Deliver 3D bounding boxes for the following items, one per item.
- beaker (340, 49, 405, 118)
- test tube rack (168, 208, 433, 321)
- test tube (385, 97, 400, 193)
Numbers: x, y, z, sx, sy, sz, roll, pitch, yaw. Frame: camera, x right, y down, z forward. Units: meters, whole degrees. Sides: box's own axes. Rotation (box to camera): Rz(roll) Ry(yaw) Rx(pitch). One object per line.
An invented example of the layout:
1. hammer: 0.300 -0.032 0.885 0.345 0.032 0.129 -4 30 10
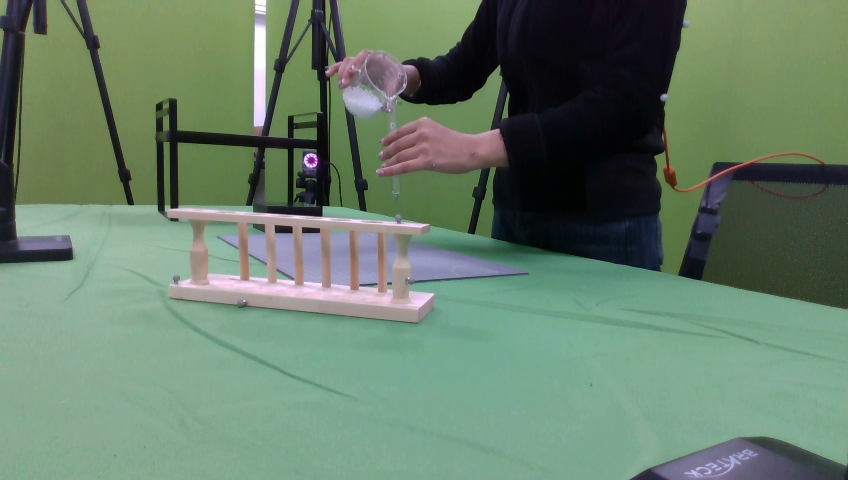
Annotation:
1. beaker: -0.085 -0.245 0.976 0.074 0.084 0.100 -8 -11 -33
2. test tube rack: -0.116 0.017 0.574 0.242 0.085 0.067 4 8 13
3. test tube: -0.048 -0.145 0.922 0.017 0.150 0.017 -3 -8 0
